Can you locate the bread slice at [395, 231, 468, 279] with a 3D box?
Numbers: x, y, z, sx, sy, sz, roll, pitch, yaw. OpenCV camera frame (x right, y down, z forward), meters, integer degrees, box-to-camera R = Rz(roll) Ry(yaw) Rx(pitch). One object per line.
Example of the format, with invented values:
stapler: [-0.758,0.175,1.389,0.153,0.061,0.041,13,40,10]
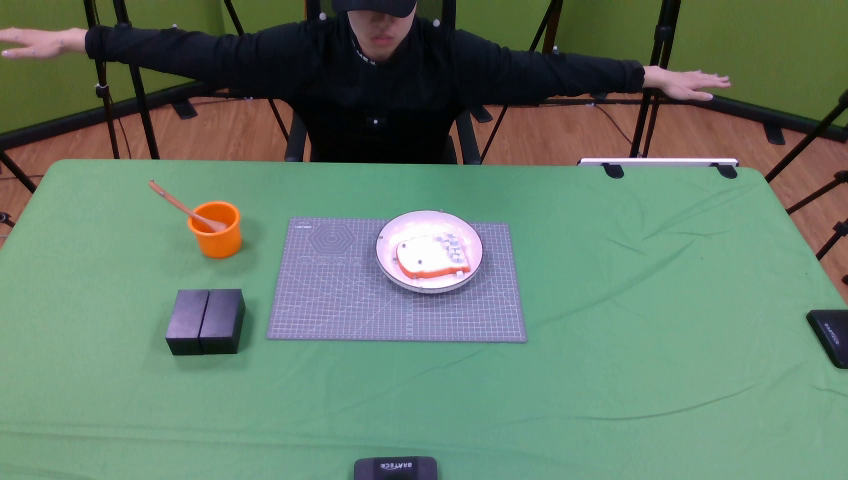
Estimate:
bread slice: [0.011,0.030,1.158,0.132,0.019,0.104,-8,47,-14]

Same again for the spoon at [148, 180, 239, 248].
spoon: [-0.422,-0.047,1.116,0.195,0.021,0.041,36,42,-25]

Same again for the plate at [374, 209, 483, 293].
plate: [0.009,0.024,1.160,0.209,0.038,0.208,2,46,-2]
